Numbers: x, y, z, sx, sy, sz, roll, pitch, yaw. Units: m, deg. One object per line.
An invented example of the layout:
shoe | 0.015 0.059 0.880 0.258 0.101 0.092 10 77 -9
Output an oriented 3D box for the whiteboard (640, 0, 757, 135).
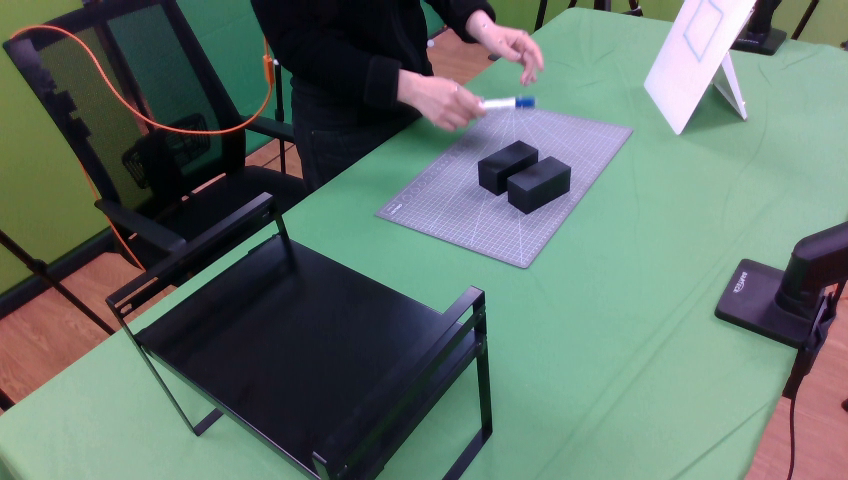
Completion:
whiteboard | 0.575 -0.366 1.147 0.144 0.305 0.216 10 39 -10

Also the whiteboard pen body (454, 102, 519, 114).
whiteboard pen body | 0.119 -0.229 1.045 0.140 0.017 0.017 4 41 27

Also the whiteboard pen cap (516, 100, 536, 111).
whiteboard pen cap | 0.171 -0.227 1.020 0.033 0.018 0.018 3 41 27
